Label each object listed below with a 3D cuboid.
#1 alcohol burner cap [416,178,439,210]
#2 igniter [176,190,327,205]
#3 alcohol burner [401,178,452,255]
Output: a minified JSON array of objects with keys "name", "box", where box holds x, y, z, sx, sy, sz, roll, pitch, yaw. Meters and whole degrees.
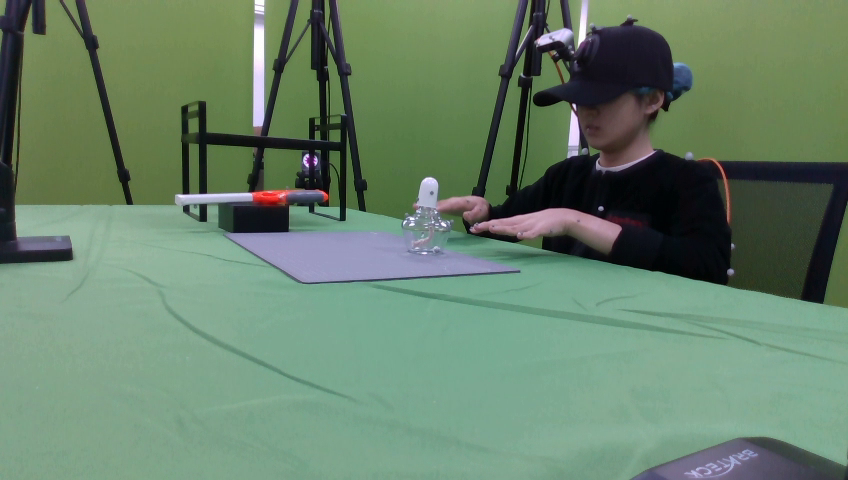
[{"name":"alcohol burner cap","box":[0.007,-0.071,0.917,0.034,0.048,0.034,6,7,0]},{"name":"igniter","box":[-0.316,-0.080,1.137,0.278,0.025,0.057,-4,12,-33]},{"name":"alcohol burner","box":[0.005,-0.036,0.923,0.078,0.119,0.078,5,7,0]}]
